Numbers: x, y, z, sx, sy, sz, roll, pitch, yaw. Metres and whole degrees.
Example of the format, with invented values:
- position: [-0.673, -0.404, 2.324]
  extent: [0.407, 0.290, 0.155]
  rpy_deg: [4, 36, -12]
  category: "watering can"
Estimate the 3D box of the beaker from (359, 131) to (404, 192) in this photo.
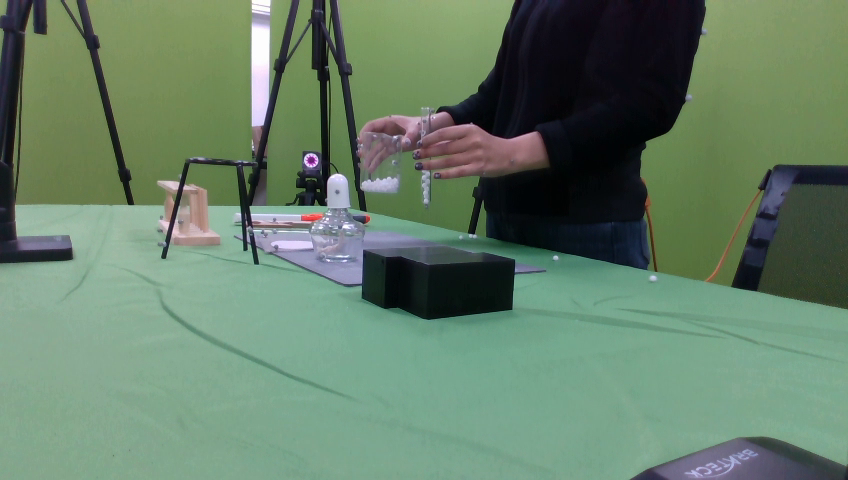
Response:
- position: [-0.073, -0.133, 1.035]
  extent: [0.074, 0.100, 0.083]
  rpy_deg: [-1, 9, -30]
  category: "beaker"

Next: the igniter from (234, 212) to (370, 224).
- position: [-0.246, -0.045, 1.247]
  extent: [0.278, 0.025, 0.057]
  rpy_deg: [-1, -2, -25]
  category: "igniter"

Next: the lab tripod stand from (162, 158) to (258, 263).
- position: [-0.265, -0.041, 0.802]
  extent: [0.148, 0.131, 0.148]
  rpy_deg: [4, 7, 0]
  category: "lab tripod stand"

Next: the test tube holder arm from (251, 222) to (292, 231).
- position: [-0.291, -0.026, 1.130]
  extent: [0.088, 0.015, 0.010]
  rpy_deg: [-1, 42, -29]
  category: "test tube holder arm"

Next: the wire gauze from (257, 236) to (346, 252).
- position: [-0.190, 0.005, 0.931]
  extent: [0.122, 0.011, 0.124]
  rpy_deg: [1, 7, -21]
  category: "wire gauze"

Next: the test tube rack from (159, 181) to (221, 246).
- position: [-0.395, -0.050, 1.010]
  extent: [0.067, 0.085, 0.241]
  rpy_deg: [-2, 8, -28]
  category: "test tube rack"

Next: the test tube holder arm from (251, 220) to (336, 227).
- position: [-0.253, -0.030, 1.156]
  extent: [0.179, 0.015, 0.013]
  rpy_deg: [-2, 43, -30]
  category: "test tube holder arm"

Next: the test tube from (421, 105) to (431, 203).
- position: [0.003, -0.132, 0.932]
  extent: [0.017, 0.150, 0.017]
  rpy_deg: [0, 12, 0]
  category: "test tube"

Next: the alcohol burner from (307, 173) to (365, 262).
- position: [-0.117, -0.030, 0.813]
  extent: [0.078, 0.119, 0.078]
  rpy_deg: [4, 9, 0]
  category: "alcohol burner"

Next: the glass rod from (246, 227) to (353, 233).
- position: [-0.224, -0.017, 1.108]
  extent: [0.201, 0.008, 0.008]
  rpy_deg: [1, 7, -27]
  category: "glass rod"

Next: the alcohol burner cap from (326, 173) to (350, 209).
- position: [-0.117, -0.065, 0.807]
  extent: [0.034, 0.048, 0.034]
  rpy_deg: [-3, 10, 1]
  category: "alcohol burner cap"
